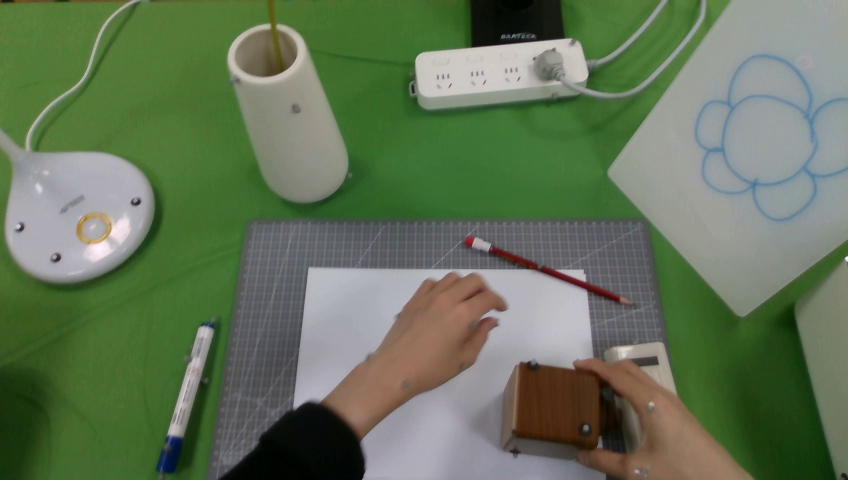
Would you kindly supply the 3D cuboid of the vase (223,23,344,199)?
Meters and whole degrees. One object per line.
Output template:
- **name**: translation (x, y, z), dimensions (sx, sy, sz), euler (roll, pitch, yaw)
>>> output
- **vase**: translation (-0.142, -0.124, 0.623), dimensions (0.098, 0.201, 0.097), euler (-1, 64, 2)

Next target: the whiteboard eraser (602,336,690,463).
- **whiteboard eraser**: translation (0.208, 0.150, 0.576), dimensions (0.055, 0.042, 0.111), euler (-5, 65, -3)

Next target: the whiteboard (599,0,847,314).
- **whiteboard**: translation (0.358, -0.110, 0.588), dimensions (0.144, 0.307, 0.215), euler (-22, 64, -30)

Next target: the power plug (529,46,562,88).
- **power plug**: translation (0.142, -0.198, 0.721), dimensions (0.035, 0.053, 0.072), euler (4, 66, 3)

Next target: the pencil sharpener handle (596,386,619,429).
- **pencil sharpener handle**: translation (0.161, 0.147, 0.527), dimensions (0.030, 0.068, 0.036), euler (7, 77, 4)

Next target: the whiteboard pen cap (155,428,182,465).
- **whiteboard pen cap**: translation (-0.238, 0.193, 0.567), dimensions (0.018, 0.018, 0.033), euler (4, 59, 3)

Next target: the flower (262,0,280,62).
- **flower**: translation (-0.137, -0.176, 0.556), dimensions (0.038, 0.365, 0.043), euler (-11, 47, -12)

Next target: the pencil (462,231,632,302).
- **pencil**: translation (0.131, 0.029, 0.651), dimensions (0.193, 0.012, 0.012), euler (22, 67, 8)

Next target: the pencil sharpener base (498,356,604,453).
- **pencil sharpener base**: translation (0.110, 0.149, 0.540), dimensions (0.076, 0.108, 0.061), euler (6, 65, 3)

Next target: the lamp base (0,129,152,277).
- **lamp base**: translation (-0.397, -0.072, 0.610), dimensions (0.178, 0.181, 0.160), euler (30, 68, 17)

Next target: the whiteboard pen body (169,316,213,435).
- **whiteboard pen body**: translation (-0.231, 0.141, 0.595), dimensions (0.017, 0.017, 0.139), euler (4, 61, 3)

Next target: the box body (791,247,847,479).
- **box body**: translation (0.495, 0.172, 0.499), dimensions (0.254, 0.161, 0.361), euler (-1, 65, 0)

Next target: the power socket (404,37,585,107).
- **power socket**: translation (0.089, -0.209, 0.752), dimensions (0.227, 0.033, 0.071), euler (-5, 66, -3)
